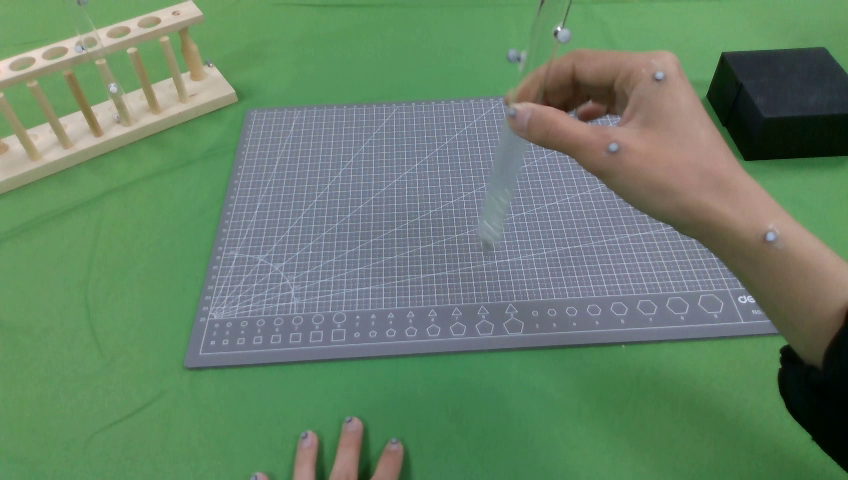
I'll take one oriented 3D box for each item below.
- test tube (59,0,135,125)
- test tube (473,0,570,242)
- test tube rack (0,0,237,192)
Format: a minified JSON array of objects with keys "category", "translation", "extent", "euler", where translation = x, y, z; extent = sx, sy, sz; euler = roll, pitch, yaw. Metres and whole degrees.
[{"category":"test tube","translation":[-0.293,-0.166,0.540],"extent":[0.017,0.152,0.017],"euler":[-1,49,1]},{"category":"test tube","translation":[0.049,-0.060,0.321],"extent":[0.017,0.151,0.017],"euler":[8,36,-6]},{"category":"test tube rack","translation":[-0.315,-0.141,0.578],"extent":[0.242,0.086,0.066],"euler":[-28,54,-20]}]
